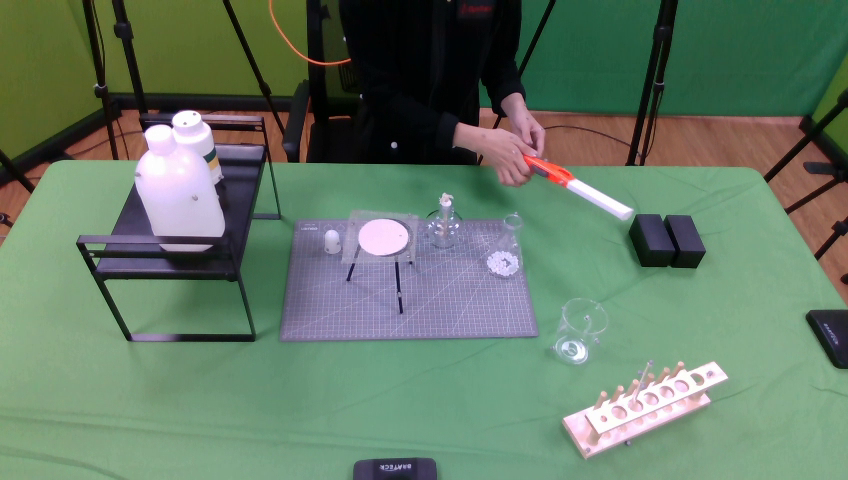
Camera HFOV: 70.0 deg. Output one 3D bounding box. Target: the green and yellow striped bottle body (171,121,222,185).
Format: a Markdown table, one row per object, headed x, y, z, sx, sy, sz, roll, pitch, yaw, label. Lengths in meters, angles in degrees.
| x | y | z | sx | sy | sz | roll | pitch | yaw | label |
| --- | --- | --- | --- | --- | --- | --- | --- | --- | --- |
| -0.375 | -0.149 | 0.995 | 0.063 | 0.120 | 0.063 | 2 | 46 | -2 | green and yellow striped bottle body |

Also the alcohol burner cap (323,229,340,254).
| x | y | z | sx | sy | sz | roll | pitch | yaw | label |
| --- | --- | --- | --- | --- | --- | --- | --- | --- | --- |
| -0.179 | 0.001 | 1.165 | 0.034 | 0.048 | 0.033 | 2 | 45 | -2 | alcohol burner cap |

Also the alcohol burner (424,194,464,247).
| x | y | z | sx | sy | sz | roll | pitch | yaw | label |
| --- | --- | --- | --- | --- | --- | --- | --- | --- | --- |
| 0.039 | -0.043 | 1.175 | 0.078 | 0.120 | 0.077 | 1 | 48 | -1 | alcohol burner |

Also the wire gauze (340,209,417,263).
| x | y | z | sx | sy | sz | roll | pitch | yaw | label |
| --- | --- | --- | --- | --- | --- | --- | --- | --- | --- |
| -0.074 | -0.007 | 1.023 | 0.121 | 0.011 | 0.124 | 3 | 46 | 1 | wire gauze |

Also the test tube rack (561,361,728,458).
| x | y | z | sx | sy | sz | roll | pitch | yaw | label |
| --- | --- | --- | --- | --- | --- | --- | --- | --- | --- |
| 0.341 | 0.248 | 0.940 | 0.243 | 0.085 | 0.066 | -15 | 49 | -18 | test tube rack |

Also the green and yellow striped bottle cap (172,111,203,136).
| x | y | z | sx | sy | sz | roll | pitch | yaw | label |
| --- | --- | --- | --- | --- | --- | --- | --- | --- | --- |
| -0.374 | -0.185 | 0.958 | 0.045 | 0.020 | 0.045 | 4 | 46 | -4 | green and yellow striped bottle cap |

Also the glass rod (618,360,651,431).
| x | y | z | sx | sy | sz | roll | pitch | yaw | label |
| --- | --- | --- | --- | --- | --- | --- | --- | --- | --- |
| 0.298 | 0.227 | 0.865 | 0.008 | 0.201 | 0.008 | -2 | 48 | 2 | glass rod |

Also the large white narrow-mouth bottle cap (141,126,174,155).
| x | y | z | sx | sy | sz | roll | pitch | yaw | label |
| --- | --- | --- | --- | --- | --- | --- | --- | --- | --- |
| -0.356 | -0.133 | 0.811 | 0.038 | 0.024 | 0.037 | 1 | 48 | -1 | large white narrow-mouth bottle cap |

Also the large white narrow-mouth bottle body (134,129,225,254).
| x | y | z | sx | sy | sz | roll | pitch | yaw | label |
| --- | --- | --- | --- | --- | --- | --- | --- | --- | --- |
| -0.358 | -0.075 | 0.875 | 0.102 | 0.195 | 0.101 | 1 | 48 | -1 | large white narrow-mouth bottle body |

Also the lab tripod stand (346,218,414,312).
| x | y | z | sx | sy | sz | roll | pitch | yaw | label |
| --- | --- | --- | --- | --- | --- | --- | --- | --- | --- |
| -0.070 | 0.037 | 1.075 | 0.148 | 0.132 | 0.147 | 1 | 48 | -1 | lab tripod stand |

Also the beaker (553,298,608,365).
| x | y | z | sx | sy | sz | roll | pitch | yaw | label |
| --- | --- | --- | --- | --- | --- | --- | --- | --- | --- |
| 0.260 | 0.154 | 1.015 | 0.073 | 0.101 | 0.084 | 37 | 54 | 27 | beaker |

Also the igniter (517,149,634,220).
| x | y | z | sx | sy | sz | roll | pitch | yaw | label |
| --- | --- | --- | --- | --- | --- | --- | --- | --- | --- |
| 0.277 | -0.112 | 1.158 | 0.057 | 0.025 | 0.275 | -17 | 41 | -37 | igniter |

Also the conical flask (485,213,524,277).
| x | y | z | sx | sy | sz | roll | pitch | yaw | label |
| --- | --- | --- | --- | --- | --- | --- | --- | --- | --- |
| 0.157 | 0.007 | 1.129 | 0.075 | 0.122 | 0.075 | 2 | 46 | -2 | conical flask |
